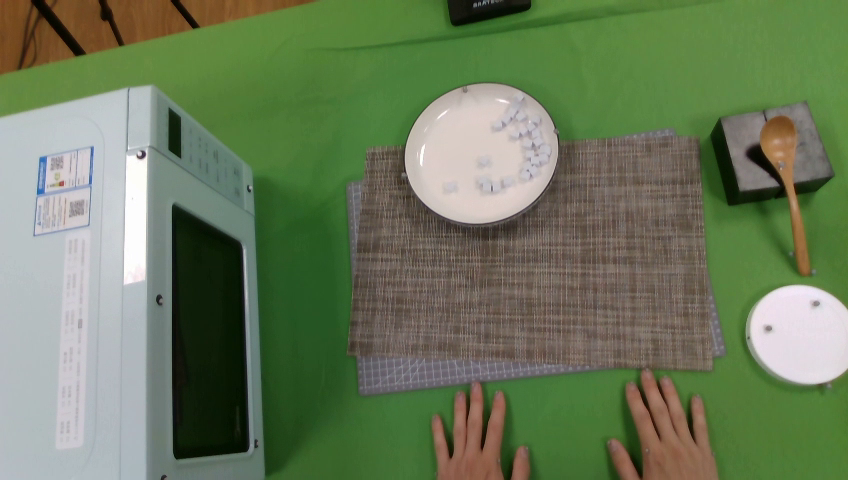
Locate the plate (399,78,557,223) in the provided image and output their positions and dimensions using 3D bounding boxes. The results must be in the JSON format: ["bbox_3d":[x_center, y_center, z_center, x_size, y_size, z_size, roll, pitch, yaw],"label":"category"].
[{"bbox_3d":[0.071,-0.118,0.814,0.209,0.038,0.208,-3,73,10],"label":"plate"}]

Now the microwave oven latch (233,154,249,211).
[{"bbox_3d":[-0.265,-0.079,0.853,0.030,0.030,0.078,-10,74,8],"label":"microwave oven latch"}]

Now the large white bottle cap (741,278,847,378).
[{"bbox_3d":[0.430,0.102,0.699,0.114,0.018,0.114,-2,75,9],"label":"large white bottle cap"}]

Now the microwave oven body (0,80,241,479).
[{"bbox_3d":[-0.406,0.089,0.733,0.326,0.262,0.439,-10,74,8],"label":"microwave oven body"}]

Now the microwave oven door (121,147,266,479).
[{"bbox_3d":[-0.259,0.102,0.696,0.039,0.245,0.353,-11,73,8],"label":"microwave oven door"}]

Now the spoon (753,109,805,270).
[{"bbox_3d":[0.420,-0.056,0.706,0.041,0.021,0.194,-15,95,5],"label":"spoon"}]

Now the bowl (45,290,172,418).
[{"bbox_3d":[-0.369,0.142,0.744,0.151,0.077,0.150,-3,74,9],"label":"bowl"}]
